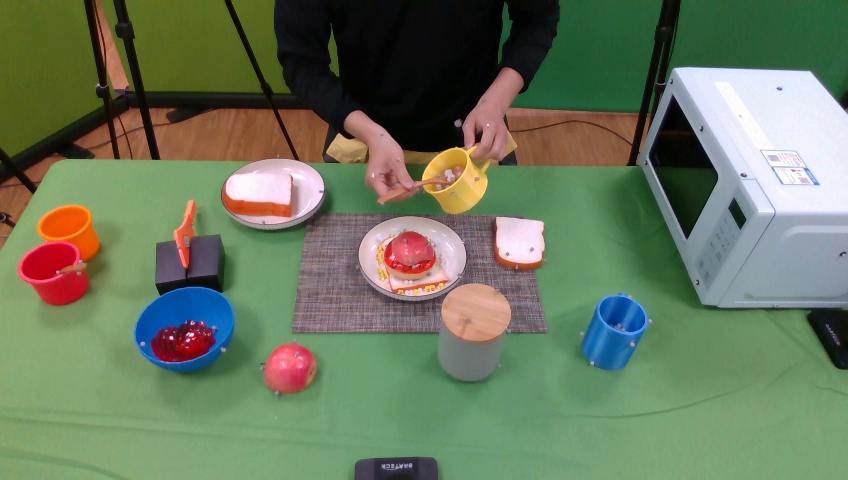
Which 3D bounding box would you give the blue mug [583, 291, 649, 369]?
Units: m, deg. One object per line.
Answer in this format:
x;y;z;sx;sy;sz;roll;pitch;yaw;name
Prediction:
0.324;0.142;1.023;0.082;0.106;0.116;15;47;11;blue mug

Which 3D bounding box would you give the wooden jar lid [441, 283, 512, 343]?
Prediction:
0.080;0.114;0.931;0.108;0.021;0.107;1;49;0;wooden jar lid

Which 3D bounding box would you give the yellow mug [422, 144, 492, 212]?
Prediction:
0.066;-0.118;1.066;0.131;0.064;0.099;-43;39;4;yellow mug

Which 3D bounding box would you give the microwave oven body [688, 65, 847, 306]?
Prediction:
0.669;-0.111;1.176;0.326;0.261;0.439;0;46;-3;microwave oven body

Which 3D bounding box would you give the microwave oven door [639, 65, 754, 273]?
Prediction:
0.522;-0.147;1.193;0.039;0.245;0.353;0;47;-3;microwave oven door

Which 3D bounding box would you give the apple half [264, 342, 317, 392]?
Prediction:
-0.214;0.198;0.970;0.074;0.053;0.080;19;48;10;apple half

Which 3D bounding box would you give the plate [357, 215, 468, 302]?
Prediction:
-0.022;0.037;1.141;0.208;0.039;0.206;2;47;-2;plate

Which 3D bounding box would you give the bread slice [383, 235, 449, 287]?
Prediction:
-0.023;0.045;1.149;0.107;0.018;0.133;-16;57;-13;bread slice

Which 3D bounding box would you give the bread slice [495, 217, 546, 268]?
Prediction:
0.194;0.002;1.205;0.105;0.019;0.131;5;45;3;bread slice

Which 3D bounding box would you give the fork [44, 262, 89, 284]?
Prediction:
-0.599;0.053;1.014;0.207;0.019;0.028;-14;29;45;fork

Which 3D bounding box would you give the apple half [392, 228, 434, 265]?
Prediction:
-0.021;0.004;1.084;0.081;0.033;0.081;6;50;-8;apple half

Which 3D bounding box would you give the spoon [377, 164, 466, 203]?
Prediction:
-0.002;-0.097;1.036;0.194;0.022;0.041;-21;51;-36;spoon

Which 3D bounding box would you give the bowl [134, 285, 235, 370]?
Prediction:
-0.377;0.155;0.981;0.151;0.077;0.150;2;46;-2;bowl

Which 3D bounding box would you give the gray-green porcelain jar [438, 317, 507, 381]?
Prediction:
0.076;0.158;0.977;0.106;0.127;0.105;2;47;-2;gray-green porcelain jar

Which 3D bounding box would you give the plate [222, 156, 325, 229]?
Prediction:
-0.308;-0.095;1.251;0.209;0.038;0.208;2;47;-2;plate

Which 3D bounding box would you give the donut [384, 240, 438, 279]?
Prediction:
-0.025;0.029;1.110;0.099;0.048;0.098;3;46;-2;donut

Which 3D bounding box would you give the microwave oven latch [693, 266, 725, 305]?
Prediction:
0.523;0.082;1.115;0.030;0.029;0.078;3;46;0;microwave oven latch

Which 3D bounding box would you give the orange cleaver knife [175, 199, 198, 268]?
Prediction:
-0.438;-0.017;1.138;0.012;0.077;0.210;-14;27;-6;orange cleaver knife
